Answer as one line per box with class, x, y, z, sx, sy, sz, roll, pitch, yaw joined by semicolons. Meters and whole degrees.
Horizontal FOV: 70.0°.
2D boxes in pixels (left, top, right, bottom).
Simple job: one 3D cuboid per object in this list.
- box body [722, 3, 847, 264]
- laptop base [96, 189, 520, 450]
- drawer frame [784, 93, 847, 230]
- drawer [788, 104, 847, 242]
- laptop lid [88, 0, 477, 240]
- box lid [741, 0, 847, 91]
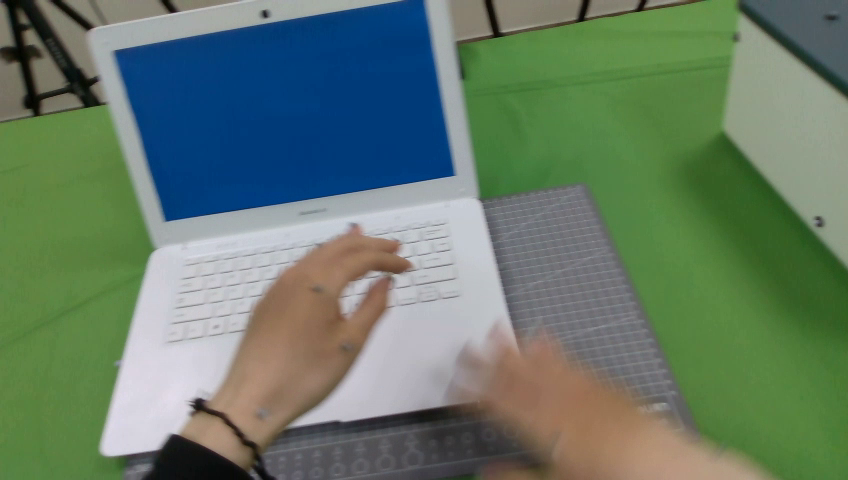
box body;0.459;-0.095;0.513;0.254;0.162;0.360;-13;46;-2
laptop base;-0.105;0.062;0.567;0.354;0.023;0.233;-9;50;2
drawer frame;0.461;-0.046;0.508;0.202;0.083;0.211;-9;43;-1
drawer;0.460;-0.042;0.513;0.194;0.074;0.209;-11;47;4
laptop lid;-0.134;-0.132;0.612;0.357;0.243;0.013;-10;17;2
box lid;0.449;-0.144;0.458;0.263;0.015;0.367;-13;46;-1
